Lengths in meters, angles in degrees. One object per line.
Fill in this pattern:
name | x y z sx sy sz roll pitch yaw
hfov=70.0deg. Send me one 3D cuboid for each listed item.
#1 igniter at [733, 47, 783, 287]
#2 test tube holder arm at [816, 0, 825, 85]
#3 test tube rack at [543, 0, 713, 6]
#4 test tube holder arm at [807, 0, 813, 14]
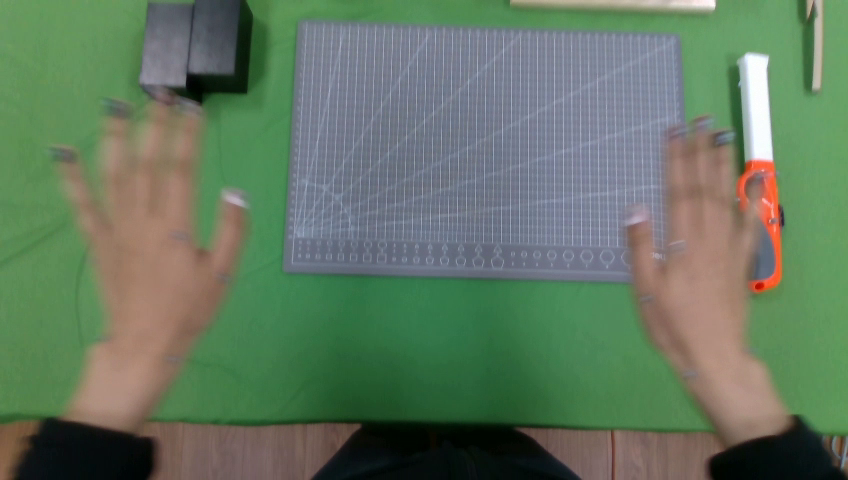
igniter | 0.374 -0.084 0.682 0.057 0.025 0.275 4 81 -11
test tube holder arm | 0.466 -0.270 0.714 0.013 0.015 0.178 -3 80 33
test tube rack | 0.221 -0.322 0.685 0.242 0.085 0.066 1 81 -1
test tube holder arm | 0.463 -0.314 0.724 0.010 0.015 0.087 -2 81 34
